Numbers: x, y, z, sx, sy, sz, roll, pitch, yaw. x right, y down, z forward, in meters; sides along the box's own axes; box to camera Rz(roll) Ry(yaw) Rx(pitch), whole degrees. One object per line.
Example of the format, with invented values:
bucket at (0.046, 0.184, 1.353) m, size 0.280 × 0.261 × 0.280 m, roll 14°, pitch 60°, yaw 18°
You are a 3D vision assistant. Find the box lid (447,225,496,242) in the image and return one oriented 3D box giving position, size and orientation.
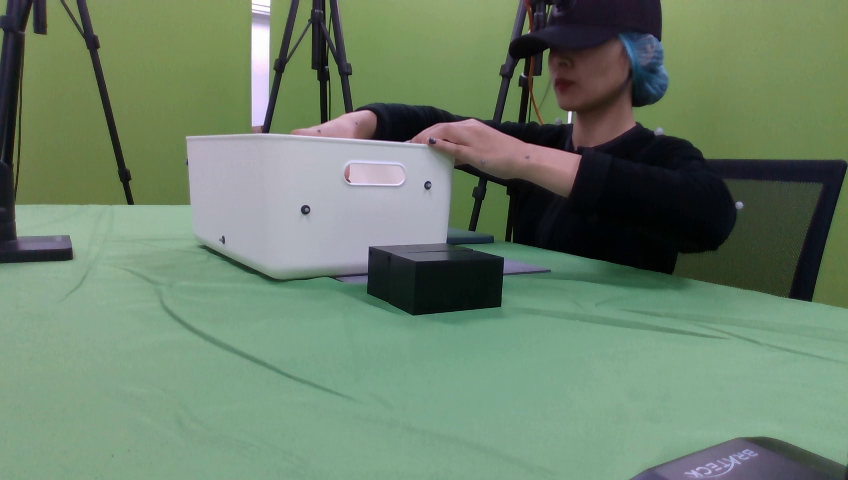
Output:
box lid at (-0.062, -0.021, 1.188) m, size 0.265 × 0.015 × 0.369 m, roll -2°, pitch 8°, yaw -32°

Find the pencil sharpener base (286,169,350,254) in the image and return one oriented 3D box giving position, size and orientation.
pencil sharpener base at (-0.145, -0.039, 0.827) m, size 0.062 × 0.107 × 0.076 m, roll 0°, pitch 12°, yaw -33°

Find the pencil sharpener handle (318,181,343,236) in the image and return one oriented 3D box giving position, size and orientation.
pencil sharpener handle at (-0.117, -0.040, 0.783) m, size 0.036 × 0.067 × 0.030 m, roll 2°, pitch 11°, yaw -33°

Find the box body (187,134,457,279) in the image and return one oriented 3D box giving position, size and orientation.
box body at (-0.157, -0.059, 0.838) m, size 0.255 × 0.160 × 0.362 m, roll -3°, pitch 9°, yaw -34°
